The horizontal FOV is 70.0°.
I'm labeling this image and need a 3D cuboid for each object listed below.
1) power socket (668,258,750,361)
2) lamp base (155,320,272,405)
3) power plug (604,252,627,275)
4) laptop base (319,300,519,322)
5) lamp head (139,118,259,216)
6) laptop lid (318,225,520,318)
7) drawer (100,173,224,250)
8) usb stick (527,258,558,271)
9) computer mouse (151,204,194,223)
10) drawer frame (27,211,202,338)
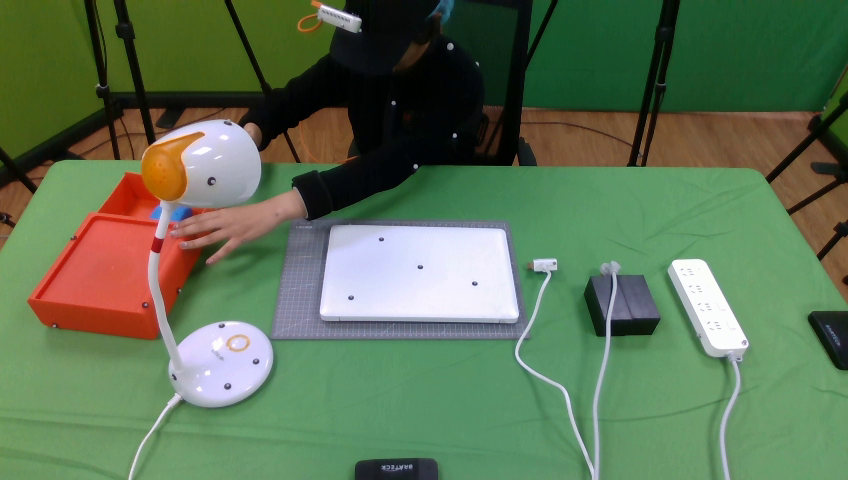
[{"bbox_3d":[0.517,0.118,1.109,0.072,0.033,0.225,-2,46,-4],"label":"power socket"},{"bbox_3d":[-0.330,0.149,0.918,0.160,0.181,0.179,26,52,20],"label":"lamp base"},{"bbox_3d":[0.366,0.040,1.130,0.035,0.072,0.052,40,56,-10],"label":"power plug"},{"bbox_3d":[-0.009,0.062,1.137,0.354,0.023,0.234,1,42,-3],"label":"laptop base"},{"bbox_3d":[-0.281,-0.086,0.734,0.112,0.113,0.123,21,25,16],"label":"lamp head"},{"bbox_3d":[-0.009,0.052,1.131,0.357,0.013,0.240,2,43,-2],"label":"laptop lid"},{"bbox_3d":[-0.514,-0.025,1.147,0.194,0.073,0.210,9,47,4],"label":"drawer"},{"bbox_3d":[0.226,0.047,1.158,0.059,0.021,0.027,-3,8,10],"label":"usb stick"},{"bbox_3d":[-0.495,-0.028,1.169,0.063,0.041,0.116,11,49,5],"label":"computer mouse"},{"bbox_3d":[-0.529,0.056,1.063,0.202,0.083,0.212,6,46,1],"label":"drawer frame"}]
